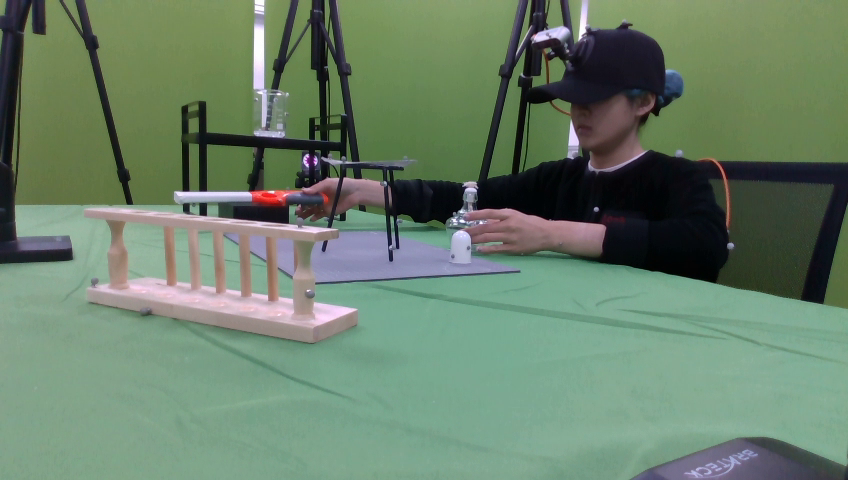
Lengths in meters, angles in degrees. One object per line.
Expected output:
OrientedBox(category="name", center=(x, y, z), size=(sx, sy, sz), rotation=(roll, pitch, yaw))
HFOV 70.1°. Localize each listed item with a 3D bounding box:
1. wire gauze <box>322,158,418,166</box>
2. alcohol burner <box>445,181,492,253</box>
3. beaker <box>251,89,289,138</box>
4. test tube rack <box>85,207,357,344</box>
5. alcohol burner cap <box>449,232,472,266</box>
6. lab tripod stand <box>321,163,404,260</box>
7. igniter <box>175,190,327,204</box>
OrientedBox(category="wire gauze", center=(-0.081, -0.112, 0.877), size=(0.122, 0.011, 0.124), rotation=(0, 6, -18))
OrientedBox(category="alcohol burner", center=(0.075, -0.039, 0.999), size=(0.078, 0.119, 0.078), rotation=(4, 8, 0))
OrientedBox(category="beaker", center=(-0.334, -0.273, 1.316), size=(0.084, 0.100, 0.074), rotation=(6, 8, 15))
OrientedBox(category="test tube rack", center=(-0.177, 0.022, 0.518), size=(0.241, 0.085, 0.067), rotation=(6, 7, 23))
OrientedBox(category="alcohol burner cap", center=(0.052, 0.012, 0.843), size=(0.034, 0.048, 0.034), rotation=(2, 6, 0))
OrientedBox(category="lab tripod stand", center=(-0.075, -0.045, 0.884), size=(0.148, 0.131, 0.148), rotation=(2, 5, 0))
OrientedBox(category="igniter", center=(-0.315, -0.080, 1.131), size=(0.278, 0.025, 0.057), rotation=(-2, 18, -32))
